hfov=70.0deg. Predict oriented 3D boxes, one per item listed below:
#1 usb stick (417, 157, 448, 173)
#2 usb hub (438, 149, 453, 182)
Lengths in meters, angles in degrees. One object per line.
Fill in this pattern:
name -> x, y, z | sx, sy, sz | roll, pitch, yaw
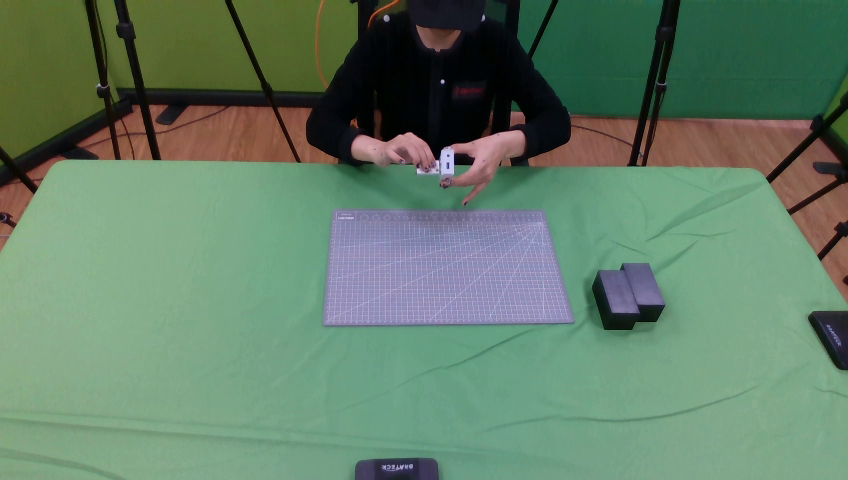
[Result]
usb stick -> 0.017, -0.148, 1.199 | 0.059, 0.021, 0.027 | -4, 81, -15
usb hub -> 0.043, -0.147, 1.201 | 0.025, 0.125, 0.049 | 0, 88, -2
